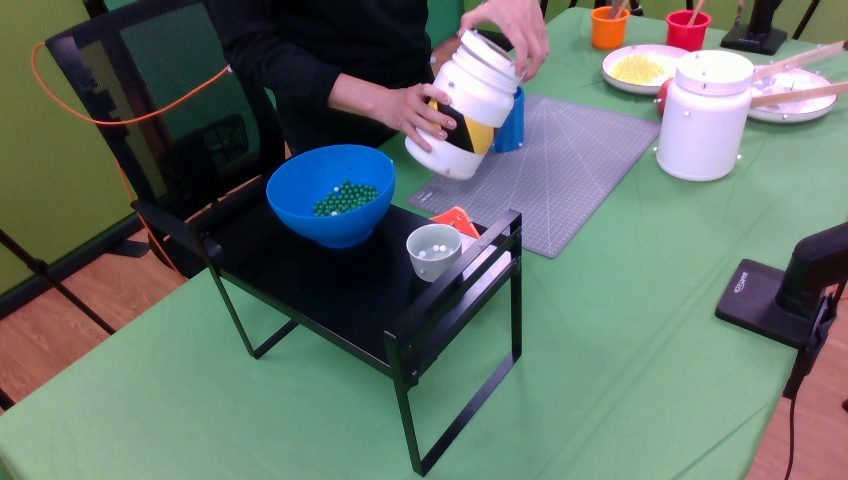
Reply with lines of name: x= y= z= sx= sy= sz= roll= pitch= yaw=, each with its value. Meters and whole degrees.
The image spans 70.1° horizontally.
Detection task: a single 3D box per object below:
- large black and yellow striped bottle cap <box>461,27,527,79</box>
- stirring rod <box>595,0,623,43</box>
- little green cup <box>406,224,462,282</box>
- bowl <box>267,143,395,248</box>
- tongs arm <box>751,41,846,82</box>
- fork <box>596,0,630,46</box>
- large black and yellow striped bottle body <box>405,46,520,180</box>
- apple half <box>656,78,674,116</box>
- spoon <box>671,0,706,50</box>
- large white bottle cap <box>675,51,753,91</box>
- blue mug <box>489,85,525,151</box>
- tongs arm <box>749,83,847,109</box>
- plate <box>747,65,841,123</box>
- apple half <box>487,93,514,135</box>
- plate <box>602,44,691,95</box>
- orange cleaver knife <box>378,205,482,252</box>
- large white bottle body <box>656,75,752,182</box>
large black and yellow striped bottle cap: x=0.109 y=-0.289 z=0.935 sx=0.115 sy=0.019 sz=0.114 roll=31 pitch=23 yaw=-14
stirring rod: x=0.460 y=-0.556 z=1.459 sx=0.014 sy=0.006 sz=0.176 roll=30 pitch=93 yaw=23
little green cup: x=0.012 y=0.015 z=0.668 sx=0.061 sy=0.039 sz=0.061 roll=-4 pitch=40 yaw=4
bowl: x=-0.104 y=-0.043 z=0.726 sx=0.151 sy=0.077 sz=0.150 roll=-4 pitch=40 yaw=4
tongs arm: x=0.708 y=-0.331 z=1.194 sx=0.386 sy=0.026 sz=0.050 roll=-18 pitch=45 yaw=-16
fork: x=0.481 y=-0.556 z=1.452 sx=0.028 sy=0.019 sz=0.207 roll=40 pitch=103 yaw=40
large black and yellow striped bottle body: x=0.063 y=-0.206 z=0.984 sx=0.131 sy=0.184 sz=0.130 roll=24 pitch=26 yaw=-12
apple half: x=0.488 y=-0.281 z=1.192 sx=0.053 sy=0.075 sz=0.081 roll=24 pitch=54 yaw=37
spoon: x=0.629 y=-0.520 z=1.394 sx=0.041 sy=0.022 sz=0.193 roll=30 pitch=96 yaw=34
large white bottle cap: x=0.463 y=-0.271 z=0.967 sx=0.115 sy=0.018 sz=0.114 roll=-4 pitch=40 yaw=4
blue mug: x=0.138 y=-0.240 z=1.169 sx=0.116 sy=0.106 sz=0.082 roll=10 pitch=44 yaw=21
tongs arm: x=0.734 y=-0.280 z=1.134 sx=0.388 sy=0.028 sz=0.028 roll=-9 pitch=47 yaw=-5
plate: x=0.695 y=-0.283 z=1.189 sx=0.207 sy=0.039 sz=0.206 roll=-4 pitch=40 yaw=4
apple half: x=0.141 y=-0.238 z=1.158 sx=0.033 sy=0.081 sz=0.080 roll=-12 pitch=40 yaw=-15
plate: x=0.495 y=-0.367 z=1.317 sx=0.209 sy=0.038 sz=0.208 roll=-4 pitch=40 yaw=4
orange cleaver knife: x=0.005 y=-0.010 z=0.944 sx=0.210 sy=0.077 sz=0.012 roll=-4 pitch=23 yaw=47
large white bottle body: x=0.472 y=-0.207 z=1.022 sx=0.130 sy=0.185 sz=0.130 roll=-4 pitch=41 yaw=4
